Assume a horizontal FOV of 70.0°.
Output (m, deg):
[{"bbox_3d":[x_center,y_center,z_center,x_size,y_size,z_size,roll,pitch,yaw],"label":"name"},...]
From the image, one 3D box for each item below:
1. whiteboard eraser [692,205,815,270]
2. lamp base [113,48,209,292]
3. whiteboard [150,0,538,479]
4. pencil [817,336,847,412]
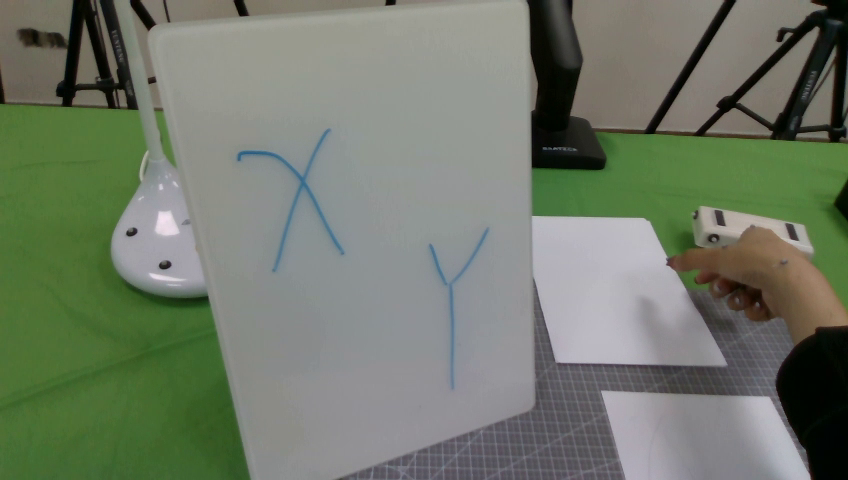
[{"bbox_3d":[0.346,-0.002,0.643,0.112,0.042,0.055,13,41,9],"label":"whiteboard eraser"},{"bbox_3d":[-0.223,-0.071,0.553,0.177,0.182,0.160,29,45,30],"label":"lamp base"},{"bbox_3d":[-0.047,-0.007,0.441,0.218,0.307,0.142,-12,23,-19],"label":"whiteboard"},{"bbox_3d":[0.344,0.150,0.477,0.012,0.012,0.192,9,41,5],"label":"pencil"}]
